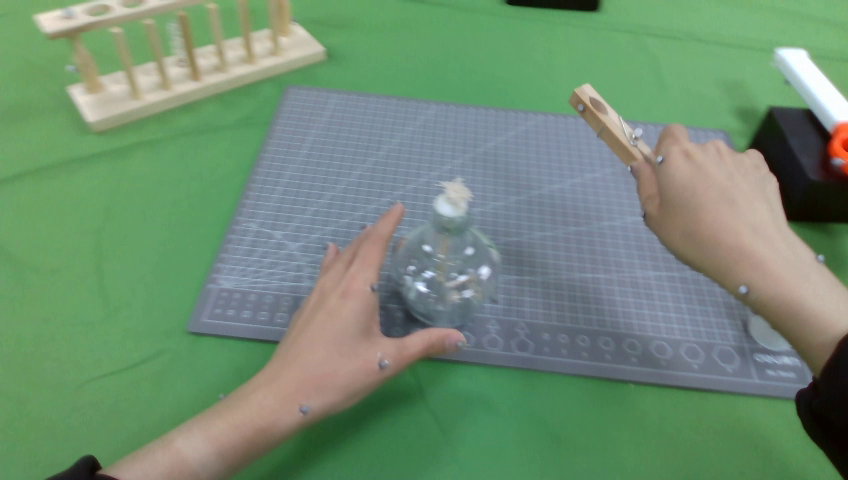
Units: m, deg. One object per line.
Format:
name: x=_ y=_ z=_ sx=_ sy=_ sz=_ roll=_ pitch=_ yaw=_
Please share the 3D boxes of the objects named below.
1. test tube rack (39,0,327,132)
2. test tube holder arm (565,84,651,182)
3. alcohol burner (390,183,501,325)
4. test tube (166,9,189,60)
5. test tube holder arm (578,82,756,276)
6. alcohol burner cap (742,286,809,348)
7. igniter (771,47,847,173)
test tube rack: x=-0.219 y=-0.196 z=0.590 sx=0.242 sy=0.086 sz=0.066 roll=-26 pitch=56 yaw=-25
test tube holder arm: x=0.134 y=-0.078 z=0.438 sx=0.010 sy=0.015 sz=0.087 roll=-30 pitch=70 yaw=-19
alcohol burner: x=0.015 y=0.005 z=0.412 sx=0.078 sy=0.120 sz=0.077 roll=1 pitch=50 yaw=-1
test tube: x=-0.235 y=-0.235 z=0.557 sx=0.017 sy=0.151 sz=0.017 roll=4 pitch=46 yaw=-4
test tube holder arm: x=0.165 y=-0.047 z=0.426 sx=0.013 sy=0.015 sz=0.177 roll=-31 pitch=71 yaw=-20
alcohol burner cap: x=0.257 y=0.053 z=0.439 sx=0.034 sy=0.048 sz=0.033 roll=3 pitch=48 yaw=-3
igniter: x=0.371 y=-0.091 z=0.525 sx=0.057 sy=0.025 sz=0.273 roll=1 pitch=46 yaw=0
